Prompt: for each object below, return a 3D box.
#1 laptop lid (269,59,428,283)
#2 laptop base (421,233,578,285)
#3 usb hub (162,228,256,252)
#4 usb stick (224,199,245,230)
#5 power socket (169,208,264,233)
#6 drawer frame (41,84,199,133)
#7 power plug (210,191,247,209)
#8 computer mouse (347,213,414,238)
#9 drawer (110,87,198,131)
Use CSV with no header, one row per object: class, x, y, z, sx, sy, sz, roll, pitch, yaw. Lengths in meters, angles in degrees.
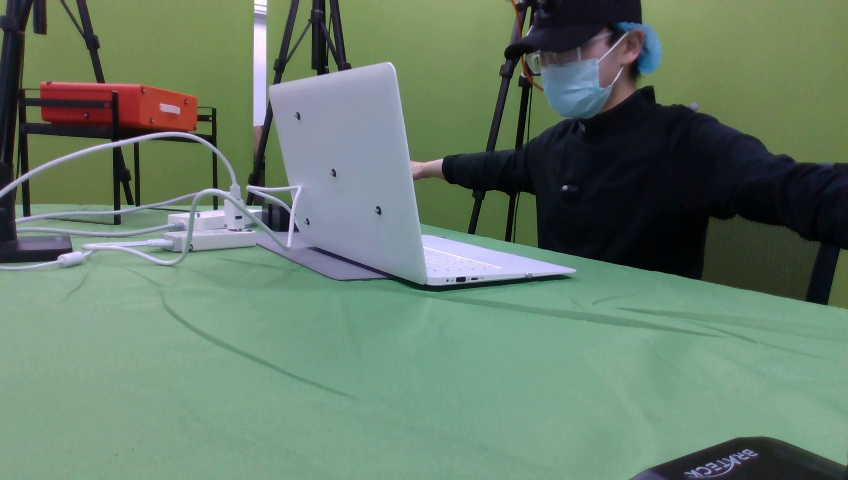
laptop lid,-0.110,-0.087,0.752,0.013,0.241,0.355,-18,19,-30
laptop base,0.007,0.022,0.850,0.237,0.023,0.352,1,7,-34
usb hub,-0.315,0.000,0.893,0.049,0.025,0.126,8,10,41
usb stick,-0.289,-0.033,0.924,0.027,0.059,0.021,11,13,38
power socket,-0.381,-0.038,1.128,0.072,0.032,0.227,4,8,17
drawer frame,-0.604,-0.264,1.225,0.213,0.082,0.202,3,8,8
power plug,-0.386,-0.071,1.203,0.072,0.052,0.035,8,10,25
computer mouse,-0.079,-0.025,1.080,0.117,0.041,0.062,-5,11,-18
drawer,-0.602,-0.263,1.225,0.211,0.073,0.195,3,8,10
